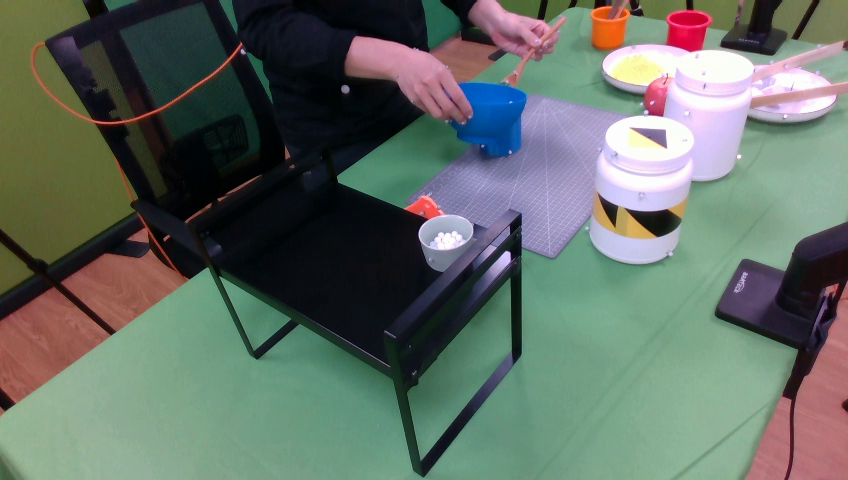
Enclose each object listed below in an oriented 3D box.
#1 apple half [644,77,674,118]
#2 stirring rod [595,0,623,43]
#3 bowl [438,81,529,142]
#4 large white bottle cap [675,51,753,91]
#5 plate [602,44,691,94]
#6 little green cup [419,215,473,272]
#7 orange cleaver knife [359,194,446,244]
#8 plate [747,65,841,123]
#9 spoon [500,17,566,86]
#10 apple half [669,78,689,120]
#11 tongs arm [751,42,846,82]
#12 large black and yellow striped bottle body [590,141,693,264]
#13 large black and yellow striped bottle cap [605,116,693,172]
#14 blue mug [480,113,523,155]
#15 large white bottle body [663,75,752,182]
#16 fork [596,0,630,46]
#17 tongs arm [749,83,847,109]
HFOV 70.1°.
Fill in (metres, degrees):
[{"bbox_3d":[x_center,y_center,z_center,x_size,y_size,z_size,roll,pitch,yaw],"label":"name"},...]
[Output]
[{"bbox_3d":[0.463,-0.279,1.194,0.053,0.075,0.081,8,46,24],"label":"apple half"},{"bbox_3d":[0.460,-0.556,1.460,0.014,0.006,0.176,30,93,23],"label":"stirring rod"},{"bbox_3d":[0.096,-0.213,1.017,0.151,0.077,0.151,3,27,-1],"label":"bowl"},{"bbox_3d":[0.463,-0.271,0.967,0.115,0.018,0.114,-4,40,3],"label":"large white bottle cap"},{"bbox_3d":[0.494,-0.367,1.317,0.209,0.038,0.208,-4,40,4],"label":"plate"},{"bbox_3d":[0.026,0.005,0.678,0.061,0.039,0.061,-4,40,4],"label":"little green cup"},{"bbox_3d":[-0.032,-0.026,0.965,0.210,0.077,0.012,-10,29,51],"label":"orange cleaver knife"},{"bbox_3d":[0.694,-0.282,1.189,0.207,0.039,0.206,-4,40,4],"label":"plate"},{"bbox_3d":[0.195,-0.337,1.109,0.193,0.022,0.041,-50,39,3],"label":"spoon"},{"bbox_3d":[0.498,-0.273,1.180,0.032,0.082,0.081,7,42,25],"label":"apple half"},{"bbox_3d":[0.708,-0.331,1.193,0.386,0.026,0.050,-18,45,-16],"label":"tongs arm"},{"bbox_3d":[0.317,-0.071,0.889,0.131,0.185,0.130,-4,41,4],"label":"large black and yellow striped bottle body"},{"bbox_3d":[0.309,-0.134,0.833,0.115,0.019,0.114,-5,40,5],"label":"large black and yellow striped bottle cap"},{"bbox_3d":[0.135,-0.235,1.163,0.082,0.106,0.115,-36,48,-28],"label":"blue mug"},{"bbox_3d":[0.472,-0.207,1.022,0.130,0.185,0.130,-4,41,4],"label":"large white bottle body"},{"bbox_3d":[0.481,-0.556,1.452,0.028,0.019,0.207,40,103,40],"label":"fork"},{"bbox_3d":[0.734,-0.280,1.133,0.388,0.028,0.028,-9,47,-5],"label":"tongs arm"}]
